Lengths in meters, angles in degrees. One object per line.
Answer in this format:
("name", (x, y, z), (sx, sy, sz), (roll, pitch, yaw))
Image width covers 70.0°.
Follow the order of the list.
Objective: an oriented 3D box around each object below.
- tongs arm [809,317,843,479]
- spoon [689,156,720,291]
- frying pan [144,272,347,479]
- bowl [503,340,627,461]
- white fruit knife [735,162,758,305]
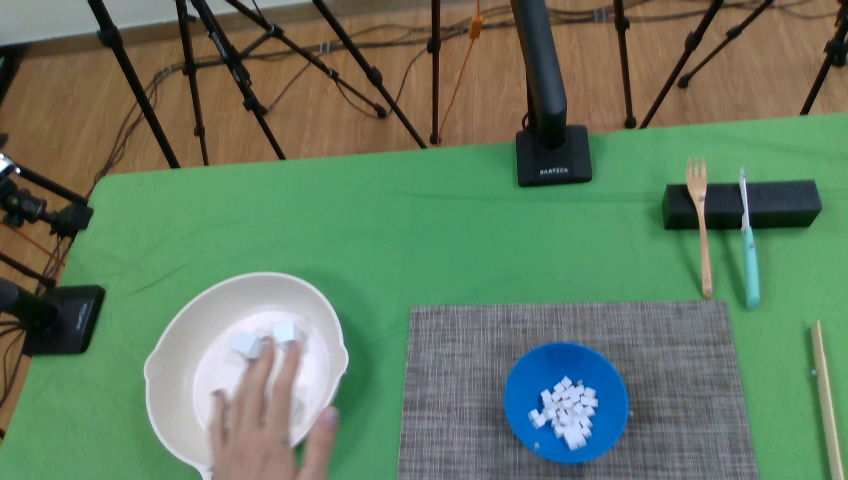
("tongs arm", (0.496, 0.273, 0.712), (0.028, 0.028, 0.384), (2, 61, 10))
("spoon", (0.395, -0.024, 0.862), (0.041, 0.022, 0.193), (1, 81, 37))
("frying pan", (-0.259, 0.271, 0.821), (0.306, 0.104, 0.483), (-3, 52, 11))
("bowl", (0.179, 0.212, 0.776), (0.151, 0.077, 0.150), (-5, 60, 9))
("white fruit knife", (0.450, -0.013, 0.851), (0.016, 0.027, 0.206), (0, 76, 6))
